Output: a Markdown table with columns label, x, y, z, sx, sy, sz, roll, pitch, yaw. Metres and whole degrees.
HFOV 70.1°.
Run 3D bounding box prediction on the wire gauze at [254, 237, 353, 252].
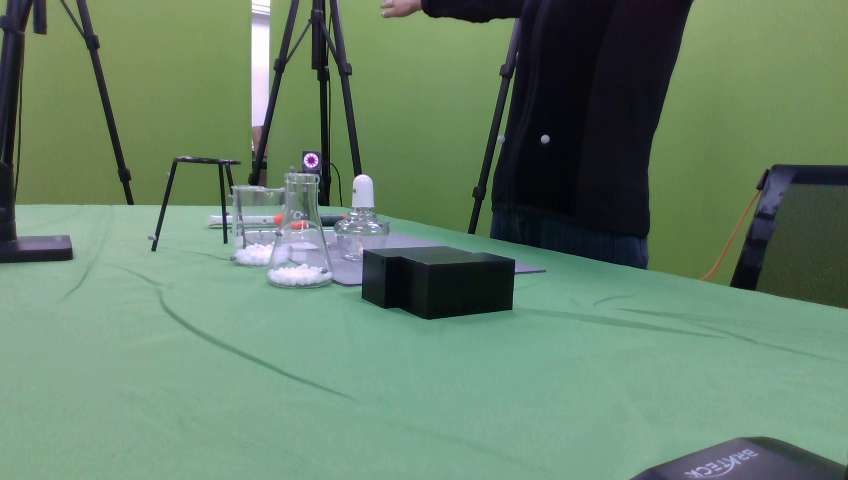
| label | x | y | z | sx | sy | sz | roll | pitch | yaw |
| --- | --- | --- | --- | --- | --- | --- | --- | --- | --- |
| wire gauze | -0.188 | 0.004 | 0.940 | 0.122 | 0.011 | 0.124 | -2 | 6 | -34 |

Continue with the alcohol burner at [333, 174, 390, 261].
| label | x | y | z | sx | sy | sz | roll | pitch | yaw |
| --- | --- | --- | --- | --- | --- | --- | --- | --- | --- |
| alcohol burner | -0.085 | -0.031 | 0.832 | 0.078 | 0.119 | 0.078 | 3 | 5 | 0 |

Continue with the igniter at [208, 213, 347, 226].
| label | x | y | z | sx | sy | sz | roll | pitch | yaw |
| --- | --- | --- | --- | --- | --- | --- | --- | --- | --- |
| igniter | -0.283 | -0.041 | 1.200 | 0.278 | 0.025 | 0.057 | -2 | -2 | -34 |

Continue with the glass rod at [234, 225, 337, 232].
| label | x | y | z | sx | sy | sz | roll | pitch | yaw |
| --- | --- | --- | --- | --- | --- | --- | --- | --- | --- |
| glass rod | -0.256 | -0.022 | 1.136 | 0.201 | 0.008 | 0.008 | -3 | 9 | -33 |

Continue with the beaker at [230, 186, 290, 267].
| label | x | y | z | sx | sy | sz | roll | pitch | yaw |
| --- | --- | --- | --- | --- | --- | --- | --- | --- | --- |
| beaker | -0.209 | -0.019 | 0.778 | 0.074 | 0.100 | 0.084 | 3 | 7 | 4 |

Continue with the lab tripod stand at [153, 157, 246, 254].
| label | x | y | z | sx | sy | sz | roll | pitch | yaw |
| --- | --- | --- | --- | --- | --- | --- | --- | --- | --- |
| lab tripod stand | -0.305 | -0.051 | 0.865 | 0.148 | 0.131 | 0.148 | 4 | 7 | 0 |

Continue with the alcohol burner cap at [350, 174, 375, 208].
| label | x | y | z | sx | sy | sz | roll | pitch | yaw |
| --- | --- | --- | --- | --- | --- | --- | --- | --- | --- |
| alcohol burner cap | -0.085 | -0.067 | 0.829 | 0.034 | 0.048 | 0.034 | 0 | 2 | 0 |

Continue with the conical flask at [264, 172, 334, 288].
| label | x | y | z | sx | sy | sz | roll | pitch | yaw |
| --- | --- | --- | --- | --- | --- | --- | --- | --- | --- |
| conical flask | -0.136 | -0.013 | 0.660 | 0.075 | 0.122 | 0.075 | 2 | 7 | 0 |
